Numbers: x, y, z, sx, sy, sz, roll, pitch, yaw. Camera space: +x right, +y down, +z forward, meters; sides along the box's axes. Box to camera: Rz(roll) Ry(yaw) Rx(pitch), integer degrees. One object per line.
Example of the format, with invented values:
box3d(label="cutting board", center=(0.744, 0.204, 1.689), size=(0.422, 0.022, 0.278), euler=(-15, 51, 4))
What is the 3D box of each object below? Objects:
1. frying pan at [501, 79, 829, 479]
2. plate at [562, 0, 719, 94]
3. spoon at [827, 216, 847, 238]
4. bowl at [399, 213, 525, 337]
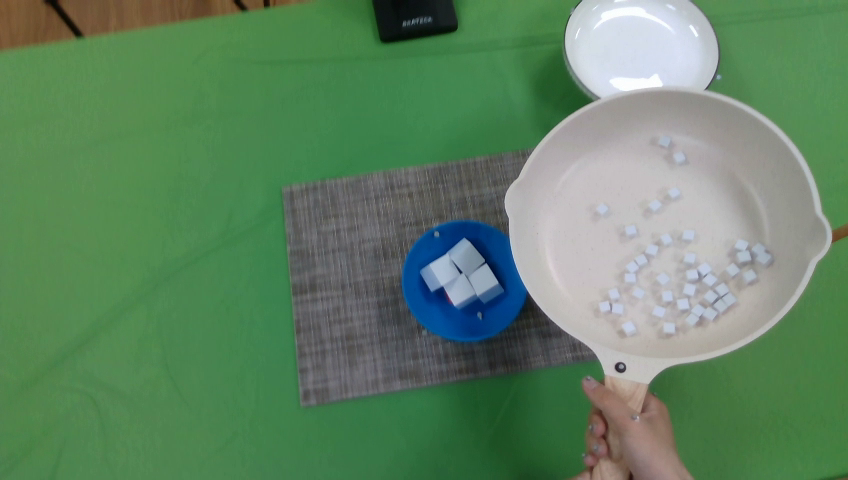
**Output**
box3d(label="frying pan", center=(0.205, 0.071, 0.594), size=(0.305, 0.104, 0.485), euler=(10, 69, 22))
box3d(label="plate", center=(0.289, -0.265, 0.822), size=(0.208, 0.039, 0.206), euler=(0, 74, 0))
box3d(label="spoon", center=(0.434, 0.013, 0.723), size=(0.022, 0.194, 0.041), euler=(-4, 65, -48))
box3d(label="bowl", center=(0.045, 0.051, 0.745), size=(0.151, 0.077, 0.150), euler=(0, 72, 0))
